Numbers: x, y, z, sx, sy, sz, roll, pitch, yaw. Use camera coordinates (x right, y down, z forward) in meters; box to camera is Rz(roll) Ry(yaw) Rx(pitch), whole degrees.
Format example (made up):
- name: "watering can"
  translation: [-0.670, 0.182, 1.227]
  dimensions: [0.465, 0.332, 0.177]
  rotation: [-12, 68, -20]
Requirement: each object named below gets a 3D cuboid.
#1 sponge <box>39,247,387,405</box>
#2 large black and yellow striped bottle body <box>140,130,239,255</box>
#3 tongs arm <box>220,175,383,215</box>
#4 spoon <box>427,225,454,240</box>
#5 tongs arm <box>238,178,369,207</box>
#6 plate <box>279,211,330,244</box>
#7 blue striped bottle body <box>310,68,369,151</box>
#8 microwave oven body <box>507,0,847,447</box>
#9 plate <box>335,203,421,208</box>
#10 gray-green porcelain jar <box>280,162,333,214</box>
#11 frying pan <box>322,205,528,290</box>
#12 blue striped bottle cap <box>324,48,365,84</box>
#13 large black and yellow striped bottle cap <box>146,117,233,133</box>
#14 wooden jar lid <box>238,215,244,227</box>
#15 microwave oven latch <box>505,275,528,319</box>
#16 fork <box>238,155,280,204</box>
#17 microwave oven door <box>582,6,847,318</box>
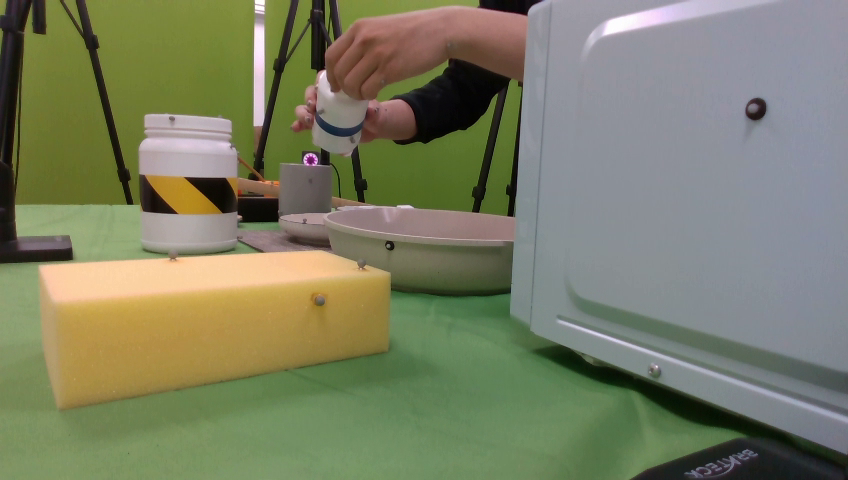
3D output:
- name: "sponge"
  translation: [-0.142, 0.047, 0.420]
  dimensions: [0.208, 0.061, 0.117]
  rotation: [-3, 9, -37]
- name: "large black and yellow striped bottle body"
  translation: [-0.336, -0.078, 0.871]
  dimensions: [0.131, 0.184, 0.130]
  rotation: [2, 8, 0]
- name: "tongs arm"
  translation: [-0.285, -0.105, 1.445]
  dimensions: [0.389, 0.027, 0.028]
  rotation: [10, -3, -23]
- name: "spoon"
  translation: [0.024, -0.019, 1.125]
  dimensions: [0.042, 0.021, 0.193]
  rotation: [-14, 9, -4]
- name: "tongs arm"
  translation: [-0.241, -0.095, 1.374]
  dimensions: [0.387, 0.026, 0.050]
  rotation: [9, 1, -37]
- name: "plate"
  translation: [-0.139, -0.022, 1.021]
  dimensions: [0.209, 0.038, 0.209]
  rotation: [2, 8, 0]
- name: "blue striped bottle body"
  translation: [-0.102, -0.166, 0.732]
  dimensions: [0.063, 0.063, 0.120]
  rotation: [-1, -26, -16]
- name: "microwave oven body"
  translation: [0.331, -0.042, 0.425]
  dimensions: [0.444, 0.260, 0.324]
  rotation: [-2, 8, -31]
- name: "plate"
  translation: [-0.089, -0.053, 1.309]
  dimensions: [0.208, 0.039, 0.207]
  rotation: [2, 8, 0]
- name: "gray-green porcelain jar"
  translation: [-0.238, -0.092, 1.221]
  dimensions: [0.106, 0.126, 0.106]
  rotation: [2, 7, 0]
- name: "frying pan"
  translation: [0.109, -0.017, 0.799]
  dimensions: [0.490, 0.102, 0.305]
  rotation: [-12, 15, -30]
- name: "blue striped bottle cap"
  translation: [-0.090, -0.194, 0.687]
  dimensions: [0.045, 0.044, 0.020]
  rotation: [-1, -12, -20]
- name: "large black and yellow striped bottle cap"
  translation: [-0.332, -0.163, 0.860]
  dimensions: [0.115, 0.019, 0.115]
  rotation: [1, 9, 0]
- name: "wooden jar lid"
  translation: [-0.404, -0.037, 1.169]
  dimensions: [0.108, 0.020, 0.108]
  rotation: [3, 7, 0]
- name: "microwave oven latch"
  translation: [0.100, 0.041, 0.471]
  dimensions: [0.079, 0.029, 0.030]
  rotation: [-1, 8, -28]
- name: "fork"
  translation: [-0.396, -0.143, 1.486]
  dimensions: [0.028, 0.018, 0.208]
  rotation: [20, -26, 45]
- name: "microwave oven door"
  translation: [0.295, -0.067, 0.569]
  dimensions: [0.358, 0.243, 0.039]
  rotation: [-3, 8, -31]
